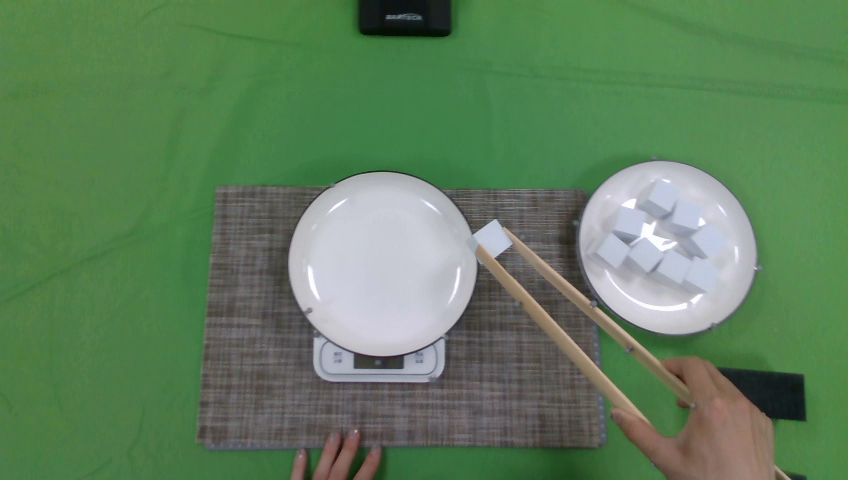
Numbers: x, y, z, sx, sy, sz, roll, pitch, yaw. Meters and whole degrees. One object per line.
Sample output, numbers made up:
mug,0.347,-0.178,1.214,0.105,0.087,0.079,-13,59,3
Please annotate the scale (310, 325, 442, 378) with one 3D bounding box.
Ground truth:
scale,-0.053,0.055,0.697,0.149,0.031,0.200,2,79,-1

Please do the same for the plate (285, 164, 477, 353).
plate,-0.046,0.020,0.670,0.209,0.038,0.208,0,79,-2

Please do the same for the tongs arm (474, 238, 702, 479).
tongs arm,0.175,0.135,0.539,0.028,0.028,0.384,-33,68,-24

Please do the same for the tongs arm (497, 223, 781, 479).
tongs arm,0.192,0.124,0.546,0.051,0.027,0.382,-39,70,-22

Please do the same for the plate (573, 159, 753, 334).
plate,0.277,0.008,0.716,0.208,0.039,0.206,0,78,-1
